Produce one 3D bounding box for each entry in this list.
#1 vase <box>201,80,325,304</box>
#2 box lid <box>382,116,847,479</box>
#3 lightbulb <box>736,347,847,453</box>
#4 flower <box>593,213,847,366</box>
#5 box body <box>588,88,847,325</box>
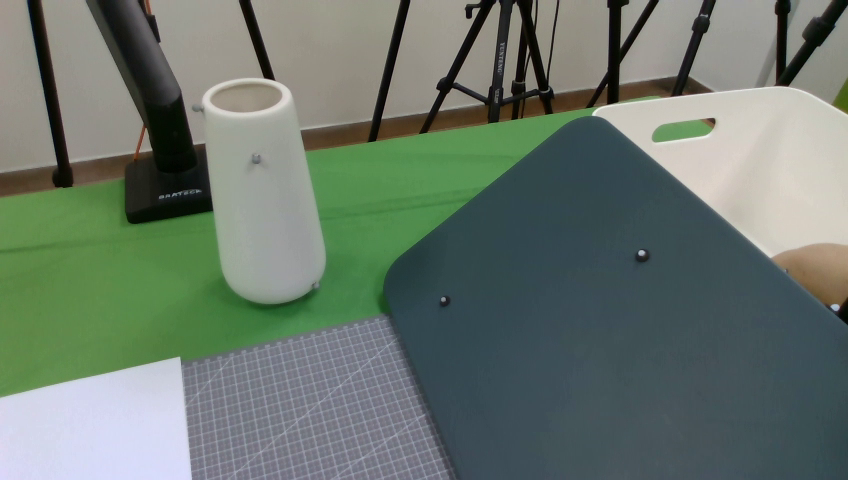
[{"bbox_3d":[-0.145,-0.037,0.545,0.098,0.202,0.097,1,38,0],"label":"vase"},{"bbox_3d":[0.114,0.069,0.453,0.263,0.015,0.367,-39,43,9],"label":"box lid"},{"bbox_3d":[0.290,0.121,0.483,0.060,0.060,0.106,-6,27,-11],"label":"lightbulb"},{"bbox_3d":[0.324,0.071,0.580,0.358,0.038,0.044,34,45,27],"label":"flower"},{"bbox_3d":[0.321,0.024,0.530,0.255,0.162,0.359,-10,41,-15],"label":"box body"}]
